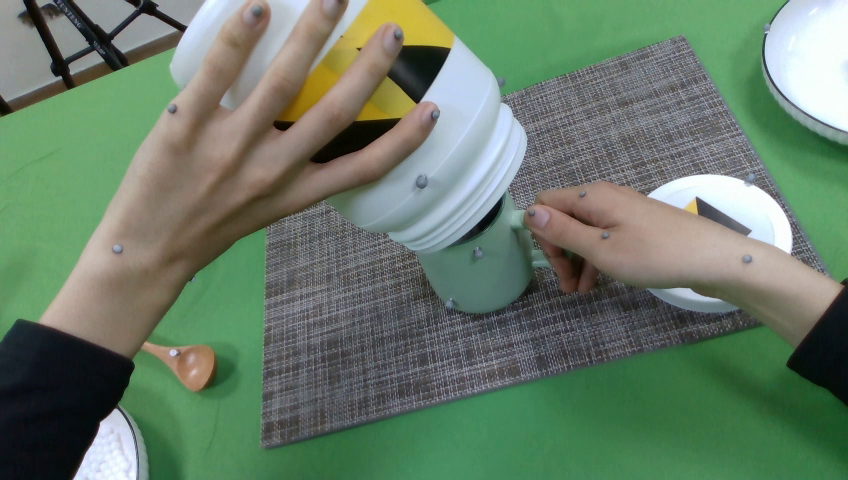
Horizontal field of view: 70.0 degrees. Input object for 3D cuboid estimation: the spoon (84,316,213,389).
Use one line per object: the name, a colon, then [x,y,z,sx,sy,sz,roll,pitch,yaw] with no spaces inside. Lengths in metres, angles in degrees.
spoon: [-0.268,0.098,0.577,0.192,0.022,0.041,13,79,27]

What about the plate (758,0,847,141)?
plate: [0.383,-0.150,0.487,0.207,0.039,0.205,-10,56,15]

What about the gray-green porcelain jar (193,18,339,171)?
gray-green porcelain jar: [-0.154,-0.142,0.623,0.105,0.128,0.105,-11,52,14]

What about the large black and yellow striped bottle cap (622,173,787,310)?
large black and yellow striped bottle cap: [0.212,-0.001,0.463,0.115,0.019,0.114,-10,55,16]

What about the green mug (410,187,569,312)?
green mug: [0.049,-0.002,0.469,0.125,0.106,0.092,2,59,21]

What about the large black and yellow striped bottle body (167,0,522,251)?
large black and yellow striped bottle body: [-0.040,-0.089,0.369,0.131,0.185,0.129,-41,24,23]

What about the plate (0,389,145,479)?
plate: [-0.319,0.229,0.504,0.209,0.038,0.207,-9,56,14]

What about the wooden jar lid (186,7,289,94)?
wooden jar lid: [-0.174,-0.179,0.575,0.108,0.021,0.107,-12,54,17]
